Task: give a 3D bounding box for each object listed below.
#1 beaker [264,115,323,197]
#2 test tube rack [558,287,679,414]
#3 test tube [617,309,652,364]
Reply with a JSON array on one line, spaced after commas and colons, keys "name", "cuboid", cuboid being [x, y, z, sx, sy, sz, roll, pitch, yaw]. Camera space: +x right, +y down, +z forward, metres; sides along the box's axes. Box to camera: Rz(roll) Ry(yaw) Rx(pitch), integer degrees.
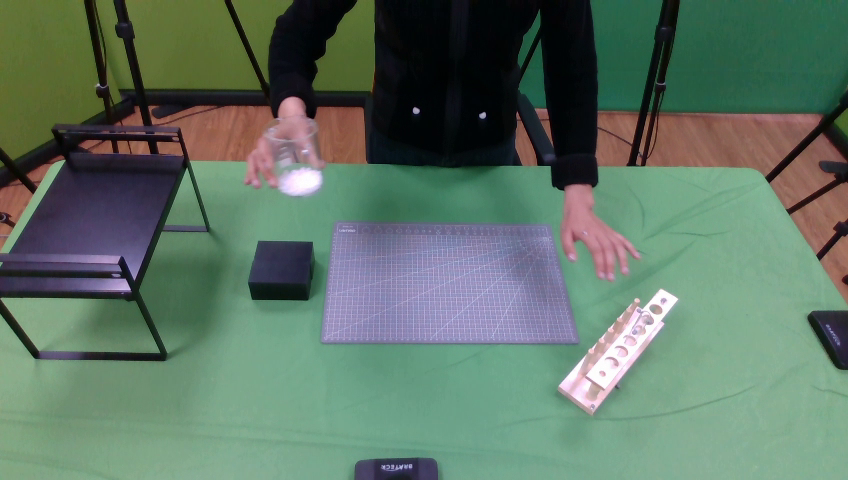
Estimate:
[{"name": "beaker", "cuboid": [-0.184, -0.120, 0.877, 0.073, 0.101, 0.084, 24, 44, 26]}, {"name": "test tube rack", "cuboid": [0.326, 0.170, 1.009, 0.066, 0.085, 0.242, 35, 54, 26]}, {"name": "test tube", "cuboid": [0.328, 0.156, 0.955, 0.017, 0.151, 0.017, 1, 50, -1]}]
